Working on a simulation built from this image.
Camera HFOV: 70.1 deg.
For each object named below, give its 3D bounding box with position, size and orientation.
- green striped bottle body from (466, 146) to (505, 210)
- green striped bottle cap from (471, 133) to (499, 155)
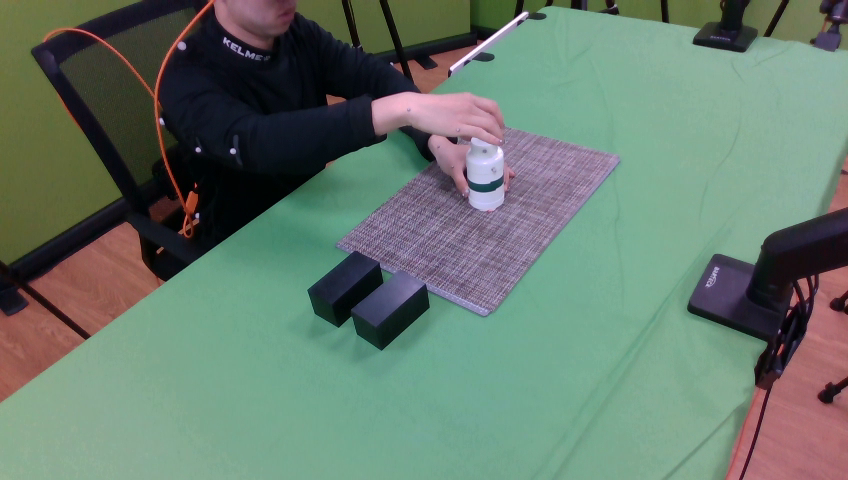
[{"bbox_3d":[0.102,-0.114,1.005,0.063,0.120,0.063,-4,41,4],"label":"green striped bottle body"},{"bbox_3d":[0.097,-0.154,0.971,0.044,0.020,0.044,-7,40,6],"label":"green striped bottle cap"}]
